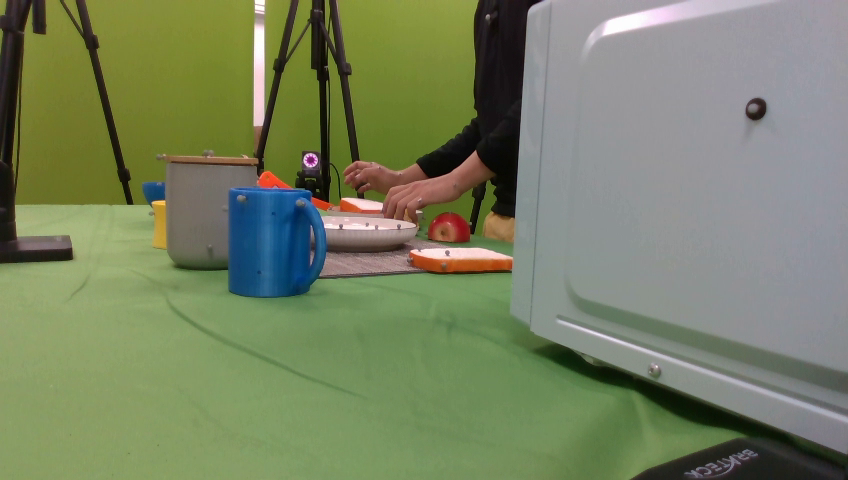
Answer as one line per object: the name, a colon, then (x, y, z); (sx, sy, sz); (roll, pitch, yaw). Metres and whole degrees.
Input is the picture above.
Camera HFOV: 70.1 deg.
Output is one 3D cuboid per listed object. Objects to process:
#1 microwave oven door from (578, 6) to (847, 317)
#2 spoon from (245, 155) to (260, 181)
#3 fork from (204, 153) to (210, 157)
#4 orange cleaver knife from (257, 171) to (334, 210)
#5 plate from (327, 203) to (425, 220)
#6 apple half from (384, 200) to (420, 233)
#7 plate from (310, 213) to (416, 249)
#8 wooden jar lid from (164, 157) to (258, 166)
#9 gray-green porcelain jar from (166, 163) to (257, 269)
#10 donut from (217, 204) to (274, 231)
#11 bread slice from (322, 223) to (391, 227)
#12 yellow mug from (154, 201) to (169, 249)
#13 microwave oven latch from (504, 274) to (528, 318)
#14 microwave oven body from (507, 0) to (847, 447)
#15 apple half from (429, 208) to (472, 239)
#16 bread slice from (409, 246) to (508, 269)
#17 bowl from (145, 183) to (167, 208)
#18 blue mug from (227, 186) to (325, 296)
microwave oven door: (0.294, -0.067, 0.570); (0.358, 0.243, 0.039); (-3, 9, -31)
spoon: (-0.421, -0.150, 1.540); (0.042, 0.193, 0.021); (-5, -35, -37)
fork: (-0.480, -0.136, 1.411); (0.028, 0.018, 0.207); (0, -34, -1)
orange cleaver knife: (-0.283, -0.087, 1.343); (0.212, 0.077, 0.012); (24, -16, -41)
plate: (-0.102, -0.053, 1.299); (0.209, 0.038, 0.209); (2, 8, 0)
apple half: (-0.047, -0.038, 1.175); (0.082, 0.081, 0.032); (-7, -27, -49)
plate: (-0.117, -0.014, 0.967); (0.208, 0.039, 0.207); (2, 7, 0)
wooden jar lid: (-0.261, -0.093, 0.746); (0.108, 0.020, 0.108); (0, 9, 0)
gray-green porcelain jar: (-0.263, -0.031, 0.754); (0.106, 0.126, 0.106); (2, 7, 0)
donut: (-0.318, -0.038, 1.080); (0.099, 0.048, 0.099); (3, 7, 0)
bread slice: (-0.116, -0.014, 0.974); (0.135, 0.018, 0.106); (-6, 11, -42)
yellow mug: (-0.337, -0.022, 0.899); (0.130, 0.064, 0.100); (8, 9, 34)
microwave oven latch: (0.100, 0.041, 0.471); (0.079, 0.029, 0.030); (-1, 8, -28)
microwave oven body: (0.331, -0.042, 0.425); (0.444, 0.260, 0.324); (-2, 8, -31)
apple half: (0.048, -0.031, 1.117); (0.080, 0.053, 0.075); (5, 10, 23)
bread slice: (0.048, 0.022, 0.816); (0.132, 0.019, 0.104); (0, 7, -24)
bowl: (-0.459, -0.068, 1.175); (0.151, 0.077, 0.151); (2, 7, 0)
blue mug: (-0.146, 0.000, 0.618); (0.116, 0.106, 0.083); (7, 9, 32)
